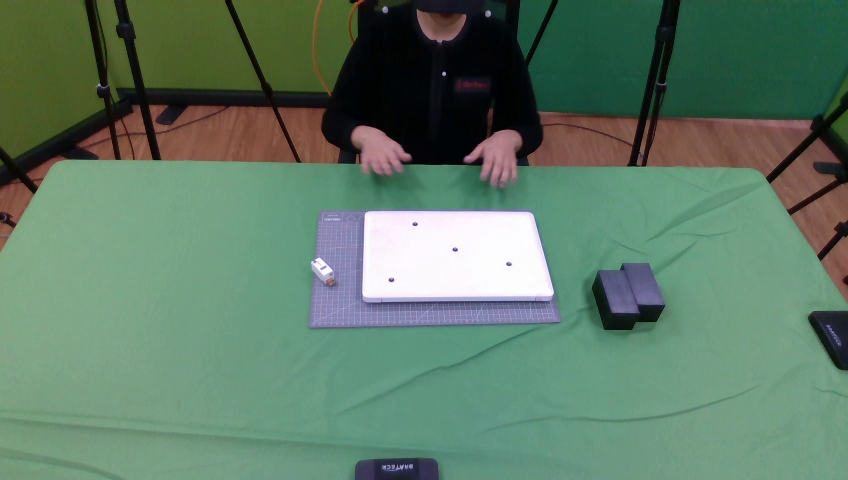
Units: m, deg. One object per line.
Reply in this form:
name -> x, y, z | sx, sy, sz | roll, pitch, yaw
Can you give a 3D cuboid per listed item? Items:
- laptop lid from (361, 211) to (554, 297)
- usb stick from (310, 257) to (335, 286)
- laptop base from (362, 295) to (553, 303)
laptop lid -> 0.058, 0.020, 1.169 | 0.357, 0.013, 0.240 | 1, 44, -3
usb stick -> -0.185, 0.060, 1.119 | 0.021, 0.027, 0.059 | -30, 57, -28
laptop base -> 0.058, 0.030, 1.175 | 0.355, 0.023, 0.234 | 0, 43, -4
